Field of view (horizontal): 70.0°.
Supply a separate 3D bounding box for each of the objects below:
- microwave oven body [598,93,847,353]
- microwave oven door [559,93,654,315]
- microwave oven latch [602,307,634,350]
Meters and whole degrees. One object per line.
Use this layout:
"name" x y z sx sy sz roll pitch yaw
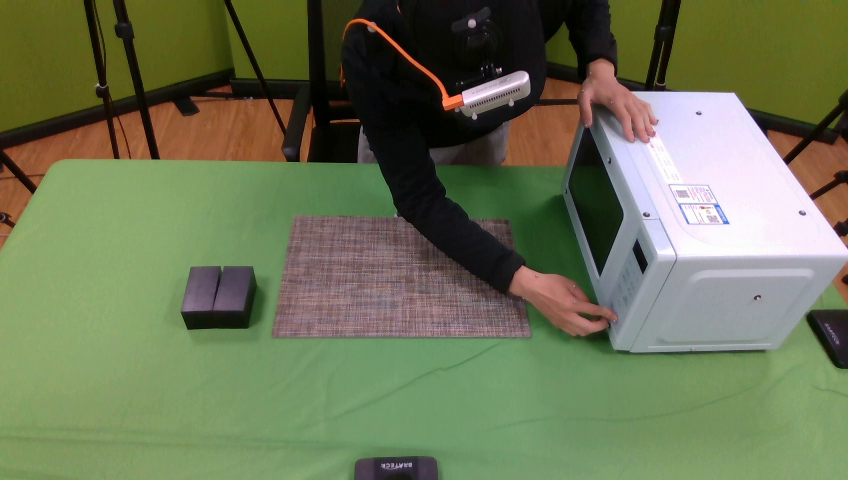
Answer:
"microwave oven body" 0.476 -0.042 1.109 0.326 0.261 0.438 -1 45 -4
"microwave oven door" 0.327 -0.074 1.123 0.039 0.245 0.353 -1 46 -5
"microwave oven latch" 0.332 0.152 1.045 0.030 0.029 0.078 -1 45 -4
